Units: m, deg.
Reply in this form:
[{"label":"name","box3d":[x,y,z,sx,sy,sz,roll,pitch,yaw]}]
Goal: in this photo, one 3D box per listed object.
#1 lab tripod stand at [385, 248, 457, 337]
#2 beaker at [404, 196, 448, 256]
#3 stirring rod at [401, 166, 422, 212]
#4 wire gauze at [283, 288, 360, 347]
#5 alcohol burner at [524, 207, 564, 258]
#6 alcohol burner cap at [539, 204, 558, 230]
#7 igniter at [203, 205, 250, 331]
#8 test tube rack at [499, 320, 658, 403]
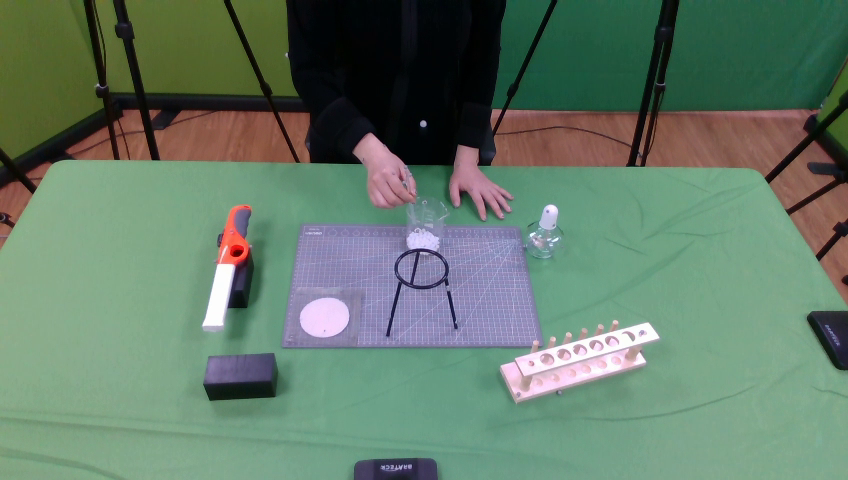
[{"label":"lab tripod stand","box3d":[-0.010,0.087,1.032,0.148,0.132,0.147,1,45,-1]},{"label":"beaker","box3d":[0.001,-0.024,1.164,0.084,0.101,0.073,6,46,0]},{"label":"stirring rod","box3d":[-0.021,-0.087,1.078,0.014,0.177,0.006,13,71,12]},{"label":"wire gauze","box3d":[-0.178,0.132,1.063,0.125,0.011,0.120,2,46,1]},{"label":"alcohol burner","box3d":[0.236,-0.021,1.174,0.078,0.120,0.077,1,48,-1]},{"label":"alcohol burner cap","box3d":[0.238,-0.045,1.148,0.034,0.048,0.033,2,42,-1]},{"label":"igniter","box3d":[-0.345,0.039,1.065,0.057,0.025,0.274,2,49,-6]},{"label":"test tube rack","box3d":[0.252,0.187,0.994,0.243,0.085,0.066,-12,48,-15]}]
